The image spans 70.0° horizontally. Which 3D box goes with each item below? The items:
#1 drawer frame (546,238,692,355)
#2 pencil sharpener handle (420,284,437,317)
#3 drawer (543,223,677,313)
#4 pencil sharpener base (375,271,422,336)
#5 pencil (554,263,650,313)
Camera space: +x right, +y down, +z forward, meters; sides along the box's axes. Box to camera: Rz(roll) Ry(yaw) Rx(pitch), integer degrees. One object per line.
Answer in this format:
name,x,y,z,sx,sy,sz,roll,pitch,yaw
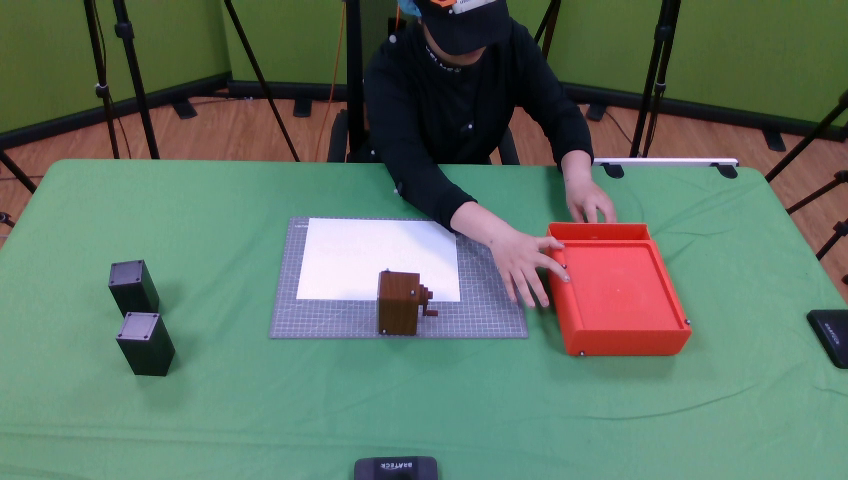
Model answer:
drawer frame,0.339,0.097,1.086,0.202,0.083,0.212,0,46,-4
pencil sharpener handle,0.009,0.104,1.016,0.030,0.068,0.036,3,38,-2
drawer,0.337,0.064,1.120,0.195,0.073,0.210,1,46,-4
pencil sharpener base,-0.042,0.109,1.025,0.077,0.107,0.061,3,45,-2
pencil,0.333,0.090,1.136,0.193,0.012,0.012,28,50,15
